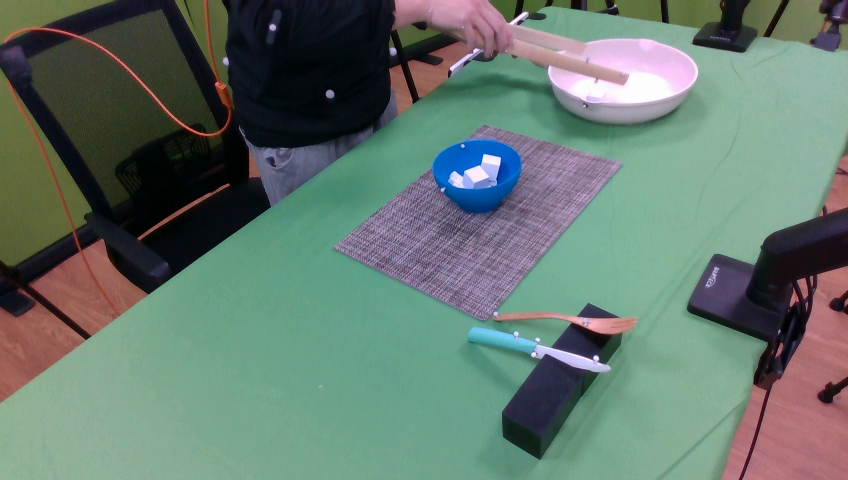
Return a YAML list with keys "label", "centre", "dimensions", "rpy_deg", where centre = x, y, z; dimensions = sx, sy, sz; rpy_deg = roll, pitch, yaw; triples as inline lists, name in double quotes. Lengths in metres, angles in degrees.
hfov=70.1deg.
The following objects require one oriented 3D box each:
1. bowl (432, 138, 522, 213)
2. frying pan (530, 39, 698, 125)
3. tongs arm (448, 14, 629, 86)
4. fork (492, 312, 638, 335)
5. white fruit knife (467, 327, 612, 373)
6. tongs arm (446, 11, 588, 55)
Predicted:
- label: "bowl"
  centre: [0.091, -0.100, 1.022]
  dimensions: [0.151, 0.077, 0.150]
  rpy_deg: [-4, 41, 4]
- label: "frying pan"
  centre: [0.320, -0.371, 1.290]
  dimensions: [0.485, 0.103, 0.307]
  rpy_deg: [28, 50, 23]
- label: "tongs arm"
  centre: [0.214, -0.327, 1.061]
  dimensions: [0.388, 0.026, 0.050]
  rpy_deg: [3, 40, -33]
- label: "fork"
  centre: [0.173, 0.103, 0.774]
  dimensions: [0.206, 0.019, 0.028]
  rpy_deg: [0, 38, 40]
- label: "white fruit knife"
  centre: [0.134, 0.134, 0.742]
  dimensions: [0.205, 0.027, 0.016]
  rpy_deg: [7, 35, 41]
- label: "tongs arm"
  centre: [0.183, -0.373, 1.106]
  dimensions: [0.391, 0.028, 0.028]
  rpy_deg: [-6, 49, -41]
